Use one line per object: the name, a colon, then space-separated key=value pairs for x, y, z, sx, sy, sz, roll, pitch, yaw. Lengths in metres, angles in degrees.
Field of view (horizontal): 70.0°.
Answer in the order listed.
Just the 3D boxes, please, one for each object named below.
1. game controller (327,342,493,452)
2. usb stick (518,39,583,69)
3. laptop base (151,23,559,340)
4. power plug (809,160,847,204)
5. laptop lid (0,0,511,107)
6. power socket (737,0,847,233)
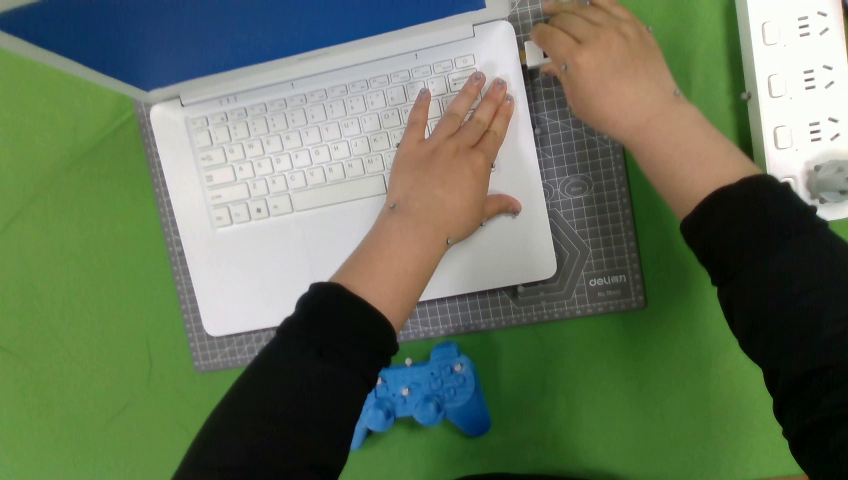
game controller: x=-0.017 y=0.152 z=0.576 sx=0.155 sy=0.051 sz=0.097 roll=-9 pitch=91 yaw=9
usb stick: x=0.107 y=-0.161 z=0.527 sx=0.059 sy=0.027 sz=0.021 roll=-3 pitch=99 yaw=3
laptop base: x=-0.069 y=-0.047 z=0.572 sx=0.354 sy=0.023 sz=0.236 roll=-11 pitch=98 yaw=9
power plug: x=0.348 y=-0.046 z=0.485 sx=0.072 sy=0.052 sz=0.035 roll=2 pitch=96 yaw=4
laptop lid: x=-0.114 y=-0.165 z=0.442 sx=0.356 sy=0.242 sz=0.013 roll=-11 pitch=87 yaw=11
power socket: x=0.309 y=-0.117 z=0.500 sx=0.072 sy=0.032 sz=0.227 roll=-8 pitch=96 yaw=10
